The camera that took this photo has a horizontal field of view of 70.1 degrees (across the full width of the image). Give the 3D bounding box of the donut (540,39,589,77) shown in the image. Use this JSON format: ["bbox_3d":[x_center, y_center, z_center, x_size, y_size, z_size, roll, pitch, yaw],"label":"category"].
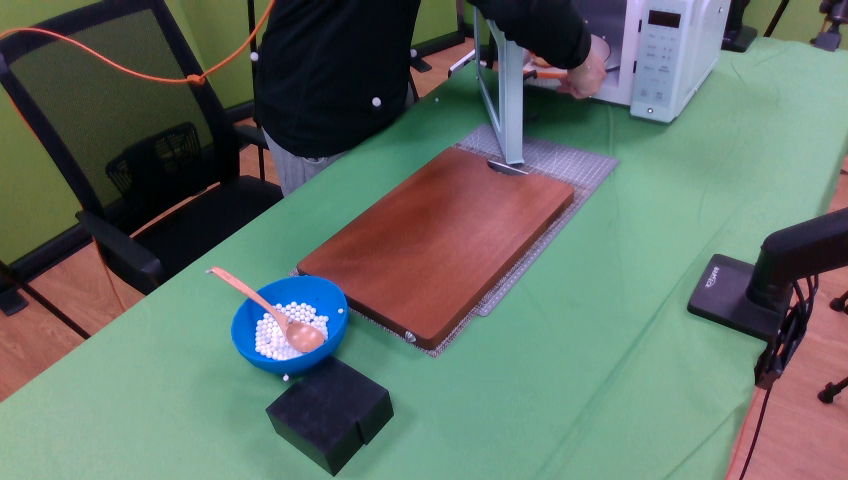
[{"bbox_3d":[0.275,-0.359,1.187,0.099,0.048,0.098,-24,33,17],"label":"donut"}]

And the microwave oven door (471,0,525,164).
[{"bbox_3d":[0.136,-0.342,1.153,0.039,0.245,0.353,-8,40,-1],"label":"microwave oven door"}]

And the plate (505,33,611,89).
[{"bbox_3d":[0.266,-0.355,1.209,0.207,0.039,0.206,-5,42,5],"label":"plate"}]

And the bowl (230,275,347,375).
[{"bbox_3d":[-0.171,0.125,0.802,0.151,0.077,0.150,-4,40,4],"label":"bowl"}]

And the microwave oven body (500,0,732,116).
[{"bbox_3d":[0.377,-0.462,1.267,0.438,0.261,0.327,21,49,30],"label":"microwave oven body"}]

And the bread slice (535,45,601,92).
[{"bbox_3d":[0.299,-0.352,1.231,0.104,0.019,0.131,15,59,40],"label":"bread slice"}]

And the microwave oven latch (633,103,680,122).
[{"bbox_3d":[0.443,-0.249,1.157,0.078,0.029,0.030,20,48,30],"label":"microwave oven latch"}]

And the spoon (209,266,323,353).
[{"bbox_3d":[-0.213,0.087,0.806,0.193,0.021,0.042,37,55,12],"label":"spoon"}]

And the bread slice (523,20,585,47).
[{"bbox_3d":[0.255,-0.400,1.170,0.106,0.018,0.134,2,32,19],"label":"bread slice"}]
